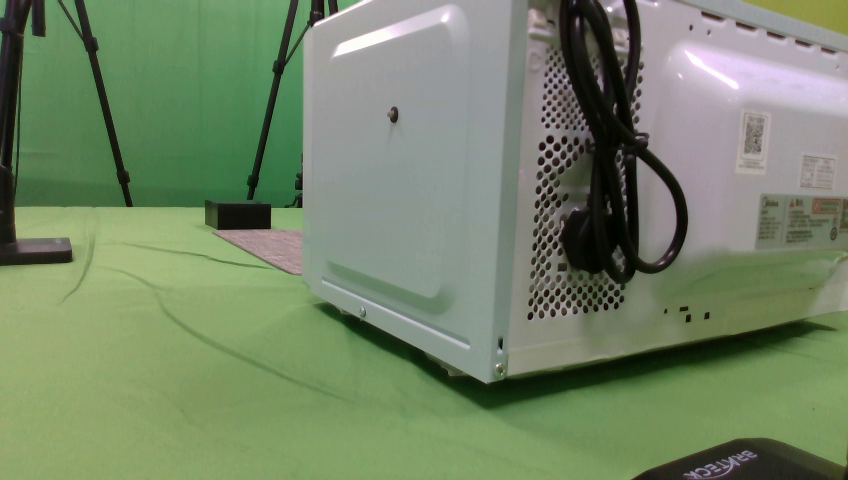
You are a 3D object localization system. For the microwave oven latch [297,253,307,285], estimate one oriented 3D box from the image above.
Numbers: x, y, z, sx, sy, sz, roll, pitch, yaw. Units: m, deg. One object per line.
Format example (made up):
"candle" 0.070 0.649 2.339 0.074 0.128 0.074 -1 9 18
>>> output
"microwave oven latch" -0.082 0.027 0.582 0.079 0.029 0.030 -1 7 -32

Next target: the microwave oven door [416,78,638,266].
"microwave oven door" 0.130 -0.105 0.892 0.354 0.243 0.039 9 10 42

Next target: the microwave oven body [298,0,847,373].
"microwave oven body" 0.151 -0.055 0.543 0.444 0.260 0.324 -1 7 -33
